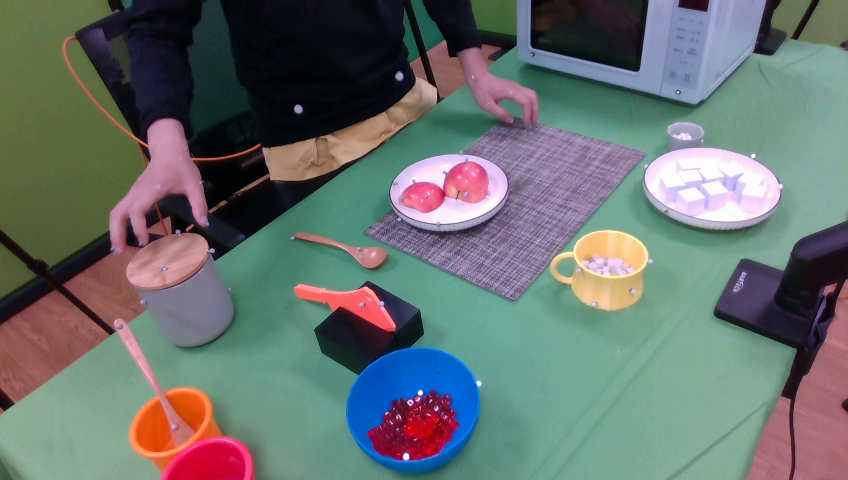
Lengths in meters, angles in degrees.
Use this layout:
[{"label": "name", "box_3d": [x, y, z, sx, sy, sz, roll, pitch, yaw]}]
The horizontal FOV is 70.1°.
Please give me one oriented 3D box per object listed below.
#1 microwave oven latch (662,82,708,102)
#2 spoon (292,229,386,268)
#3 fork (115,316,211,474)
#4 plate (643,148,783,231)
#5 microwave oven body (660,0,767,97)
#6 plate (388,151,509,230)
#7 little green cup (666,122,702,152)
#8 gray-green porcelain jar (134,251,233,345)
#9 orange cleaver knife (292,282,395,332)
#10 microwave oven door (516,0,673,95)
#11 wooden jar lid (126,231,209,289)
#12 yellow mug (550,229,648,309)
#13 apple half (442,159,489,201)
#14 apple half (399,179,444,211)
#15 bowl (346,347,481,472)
[{"label": "microwave oven latch", "box_3d": [0.517, -0.298, 1.202, 0.078, 0.029, 0.030, 27, 52, 34]}, {"label": "spoon", "box_3d": [-0.141, 0.007, 0.982, 0.192, 0.022, 0.041, 17, 70, 25]}, {"label": "fork", "box_3d": [-0.308, 0.179, 0.708, 0.028, 0.018, 0.207, -30, 89, -22]}, {"label": "plate", "box_3d": [0.464, -0.080, 0.986, 0.207, 0.039, 0.206, -4, 41, 4]}, {"label": "microwave oven body", "box_3d": [0.473, -0.516, 1.313, 0.438, 0.261, 0.327, 26, 51, 34]}, {"label": "plate", "box_3d": [0.044, -0.082, 1.042, 0.209, 0.038, 0.208, -4, 40, 4]}, {"label": "little green cup", "box_3d": [0.471, -0.184, 1.102, 0.061, 0.039, 0.061, -5, 41, 5]}, {"label": "gray-green porcelain jar", "box_3d": [-0.334, 0.076, 0.849, 0.106, 0.127, 0.105, -4, 41, 4]}, {"label": "orange cleaver knife", "box_3d": [-0.116, 0.091, 0.835, 0.209, 0.077, 0.012, 2, 32, 48]}, {"label": "microwave oven door", "box_3d": [0.344, -0.458, 1.256, 0.353, 0.245, 0.039, 26, 51, 33]}, {"label": "wooden jar lid", "box_3d": [-0.340, 0.030, 0.809, 0.108, 0.021, 0.108, -5, 39, 5]}, {"label": "yellow mug", "box_3d": [0.245, 0.040, 0.857, 0.130, 0.064, 0.099, 1, 42, 11]}, {"label": "apple half", "box_3d": [0.074, -0.110, 1.047, 0.080, 0.053, 0.075, 21, 45, 30]}, {"label": "apple half", "box_3d": [-0.004, -0.087, 1.045, 0.081, 0.033, 0.081, -2, 42, 2]}, {"label": "bowl", "box_3d": [-0.008, 0.205, 0.691, 0.151, 0.077, 0.150, -4, 40, 4]}]
